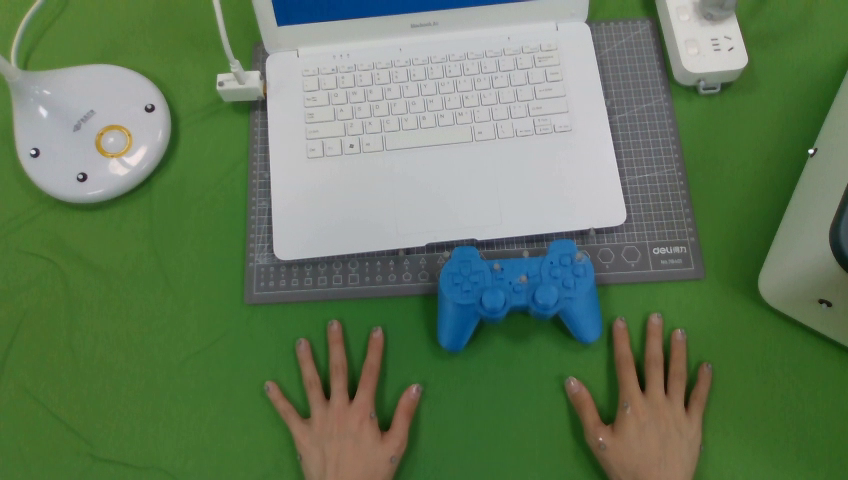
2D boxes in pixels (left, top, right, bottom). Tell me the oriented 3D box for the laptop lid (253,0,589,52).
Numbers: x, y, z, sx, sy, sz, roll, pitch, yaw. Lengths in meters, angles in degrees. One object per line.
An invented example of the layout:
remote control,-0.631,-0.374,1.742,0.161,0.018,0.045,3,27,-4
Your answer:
laptop lid,-0.006,-0.308,0.588,0.357,0.244,0.013,-7,42,1

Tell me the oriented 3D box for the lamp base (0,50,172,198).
lamp base,-0.363,-0.147,0.571,0.178,0.181,0.160,23,75,12

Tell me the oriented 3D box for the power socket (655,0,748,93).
power socket,0.294,-0.269,0.666,0.072,0.033,0.225,-5,73,-1

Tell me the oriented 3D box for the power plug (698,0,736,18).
power plug,0.326,-0.248,0.635,0.072,0.053,0.035,6,72,2

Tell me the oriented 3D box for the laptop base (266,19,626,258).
laptop base,0.015,-0.110,0.633,0.354,0.023,0.234,-6,77,0

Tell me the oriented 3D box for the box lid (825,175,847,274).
box lid,0.491,-0.081,0.458,0.262,0.015,0.370,29,77,10

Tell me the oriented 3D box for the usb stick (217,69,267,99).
usb stick,-0.186,-0.165,0.643,0.059,0.027,0.021,-2,67,-2

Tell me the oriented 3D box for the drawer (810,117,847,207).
drawer,0.513,-0.093,0.570,0.193,0.073,0.211,33,79,13

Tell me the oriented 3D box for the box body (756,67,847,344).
box body,0.492,-0.058,0.529,0.253,0.161,0.363,29,76,10

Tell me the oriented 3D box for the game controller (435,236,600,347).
game controller,0.086,0.047,0.569,0.155,0.052,0.096,-3,71,0
